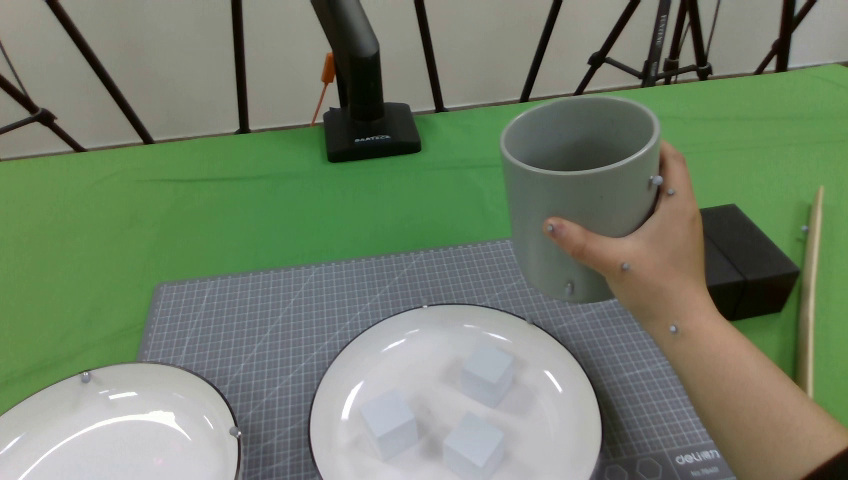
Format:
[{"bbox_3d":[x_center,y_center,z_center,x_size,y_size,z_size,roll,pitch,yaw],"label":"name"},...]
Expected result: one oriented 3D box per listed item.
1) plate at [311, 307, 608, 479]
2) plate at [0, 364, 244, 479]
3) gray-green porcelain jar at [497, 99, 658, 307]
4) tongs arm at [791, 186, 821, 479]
[{"bbox_3d":[0.025,0.135,0.442,0.208,0.039,0.205,-1,39,1],"label":"plate"},{"bbox_3d":[-0.223,0.175,0.404,0.209,0.038,0.207,-2,40,2],"label":"plate"},{"bbox_3d":[0.114,-0.023,0.445,0.106,0.128,0.105,-9,38,7],"label":"gray-green porcelain jar"},{"bbox_3d":[0.340,0.064,0.525,0.028,0.028,0.386,18,44,20],"label":"tongs arm"}]
